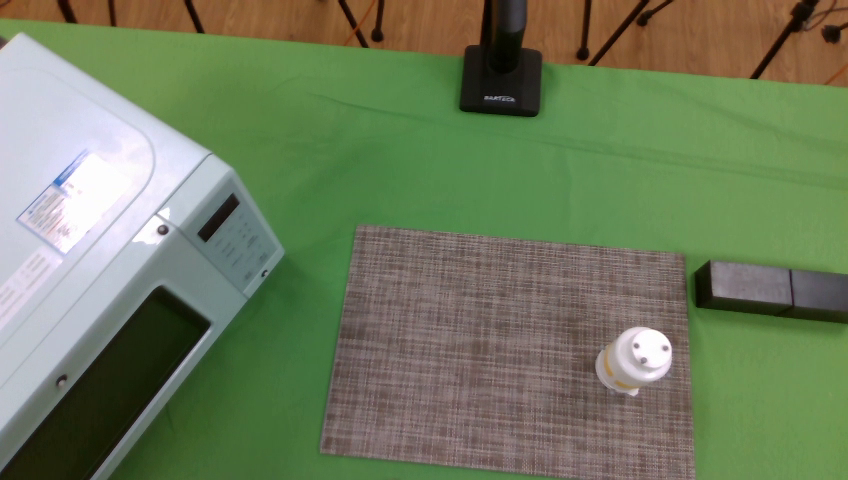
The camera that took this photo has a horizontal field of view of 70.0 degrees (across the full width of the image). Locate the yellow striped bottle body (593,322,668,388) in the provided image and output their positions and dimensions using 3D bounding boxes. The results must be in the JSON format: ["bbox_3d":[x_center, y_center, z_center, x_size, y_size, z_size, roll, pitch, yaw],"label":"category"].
[{"bbox_3d":[0.244,0.135,0.714,0.063,0.121,0.062,0,68,1],"label":"yellow striped bottle body"}]

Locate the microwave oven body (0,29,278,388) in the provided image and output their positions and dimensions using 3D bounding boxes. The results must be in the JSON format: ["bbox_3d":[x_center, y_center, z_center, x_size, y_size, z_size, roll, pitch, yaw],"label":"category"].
[{"bbox_3d":[-0.439,0.055,0.671,0.325,0.262,0.440,31,73,11],"label":"microwave oven body"}]

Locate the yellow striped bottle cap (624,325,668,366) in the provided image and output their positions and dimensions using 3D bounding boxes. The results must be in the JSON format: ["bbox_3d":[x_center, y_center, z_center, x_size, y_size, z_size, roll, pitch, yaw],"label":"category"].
[{"bbox_3d":[0.244,0.116,0.665,0.044,0.019,0.044,0,71,1],"label":"yellow striped bottle cap"}]

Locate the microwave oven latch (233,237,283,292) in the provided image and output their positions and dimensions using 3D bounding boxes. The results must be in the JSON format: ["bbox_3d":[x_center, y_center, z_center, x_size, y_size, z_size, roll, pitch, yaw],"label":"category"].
[{"bbox_3d":[-0.217,0.027,0.785,0.030,0.030,0.079,33,73,11],"label":"microwave oven latch"}]

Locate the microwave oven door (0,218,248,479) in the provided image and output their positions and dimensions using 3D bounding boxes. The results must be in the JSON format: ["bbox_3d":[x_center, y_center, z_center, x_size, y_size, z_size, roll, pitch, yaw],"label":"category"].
[{"bbox_3d":[-0.339,0.160,0.625,0.039,0.245,0.355,31,72,12],"label":"microwave oven door"}]
